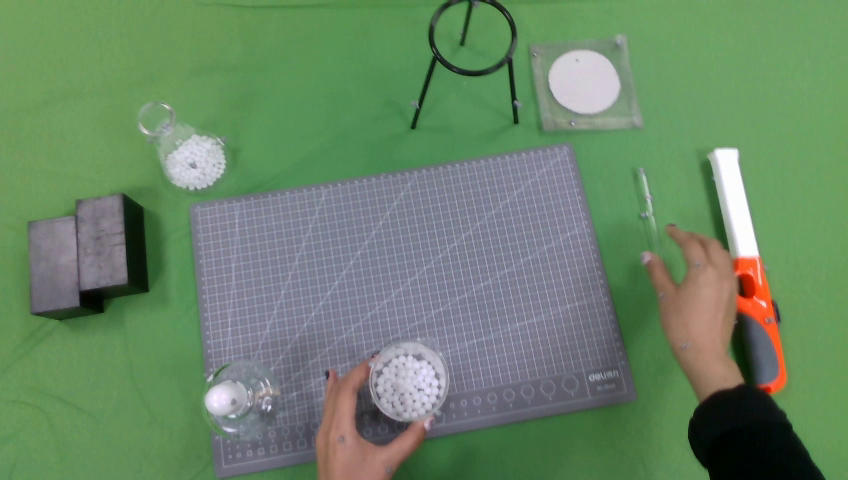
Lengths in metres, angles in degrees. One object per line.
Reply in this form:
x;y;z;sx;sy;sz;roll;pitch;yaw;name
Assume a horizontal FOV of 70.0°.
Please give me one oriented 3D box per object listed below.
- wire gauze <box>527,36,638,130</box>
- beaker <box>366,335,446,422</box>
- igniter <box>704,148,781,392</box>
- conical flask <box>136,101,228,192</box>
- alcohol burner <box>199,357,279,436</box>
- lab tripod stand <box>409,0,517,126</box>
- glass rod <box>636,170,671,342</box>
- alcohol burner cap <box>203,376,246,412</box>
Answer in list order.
0.194;-0.191;0.738;0.125;0.011;0.121;-4;77;-4;wire gauze
-0.017;0.138;0.600;0.074;0.101;0.083;28;73;5;beaker
0.356;0.028;0.679;0.057;0.025;0.275;-1;76;-13;igniter
-0.264;-0.104;0.649;0.075;0.122;0.075;0;76;0;conical flask
-0.185;0.152;0.590;0.078;0.119;0.077;0;75;1;alcohol burner
0.045;-0.189;0.670;0.148;0.132;0.147;0;78;-1;lab tripod stand
0.261;0.016;0.689;0.008;0.008;0.199;-6;79;-3;glass rod
-0.185;0.142;0.555;0.034;0.048;0.033;1;79;-5;alcohol burner cap
